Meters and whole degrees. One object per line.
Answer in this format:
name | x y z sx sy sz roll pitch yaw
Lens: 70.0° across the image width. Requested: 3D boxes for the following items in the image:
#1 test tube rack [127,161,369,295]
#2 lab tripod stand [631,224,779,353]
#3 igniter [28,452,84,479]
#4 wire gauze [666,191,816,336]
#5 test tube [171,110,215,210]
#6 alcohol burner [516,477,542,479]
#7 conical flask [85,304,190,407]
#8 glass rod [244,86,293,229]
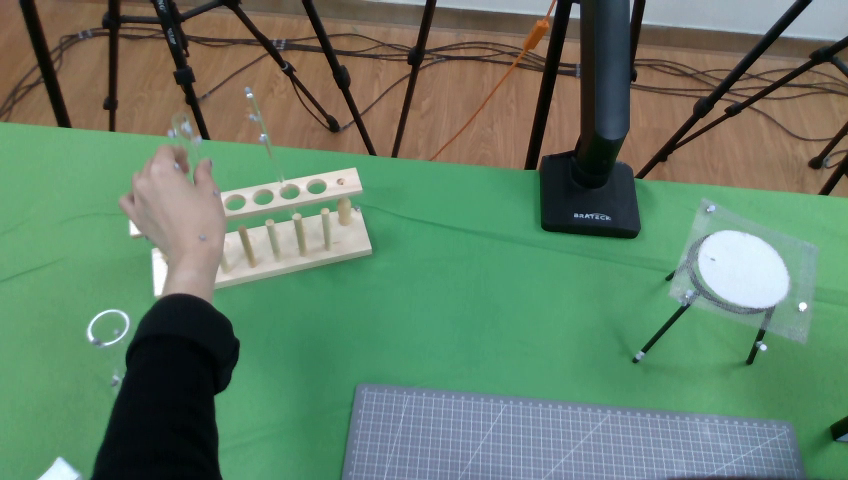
test tube rack | -0.189 -0.014 0.678 0.243 0.086 0.066 -13 58 -11
lab tripod stand | 0.292 0.057 0.625 0.148 0.132 0.147 2 55 -3
igniter | -0.385 0.279 0.453 0.057 0.025 0.276 28 58 26
wire gauze | 0.302 0.019 0.570 0.121 0.011 0.124 24 59 11
test tube | -0.226 -0.072 0.602 0.017 0.151 0.017 4 57 -5
alcohol burner | 0.094 0.235 0.507 0.078 0.120 0.077 2 55 -3
conical flask | -0.276 0.104 0.574 0.075 0.123 0.074 1 56 -1
glass rod | -0.160 -0.078 0.643 0.008 0.201 0.008 -2 50 3
